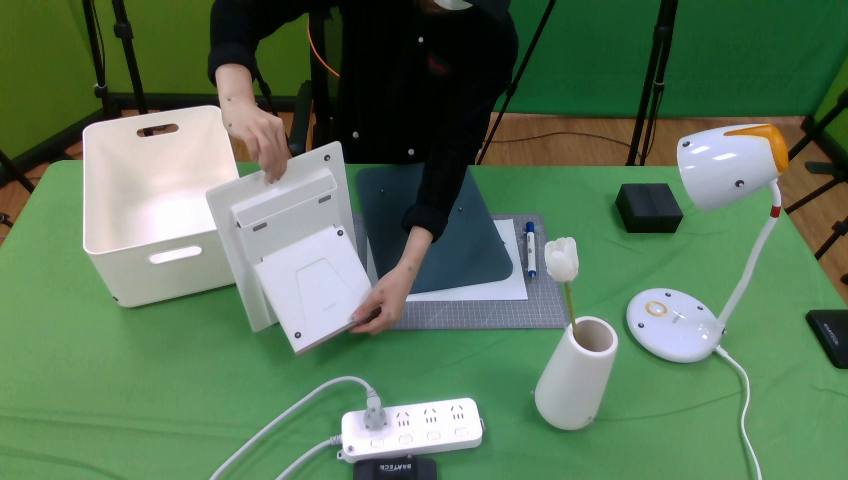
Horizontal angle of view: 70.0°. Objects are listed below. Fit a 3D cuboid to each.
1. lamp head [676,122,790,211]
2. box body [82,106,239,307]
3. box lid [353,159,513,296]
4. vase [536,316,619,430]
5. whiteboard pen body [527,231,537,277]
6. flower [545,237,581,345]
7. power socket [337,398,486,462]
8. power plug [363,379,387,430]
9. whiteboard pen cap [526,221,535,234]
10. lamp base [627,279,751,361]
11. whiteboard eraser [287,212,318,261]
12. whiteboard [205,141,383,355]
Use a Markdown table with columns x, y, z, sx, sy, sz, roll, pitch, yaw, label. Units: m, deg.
| x | y | z | sx | sy | sz | roll | pitch | yaw | label |
| --- | --- | --- | --- | --- | --- | --- | --- | --- | --- |
| 0.423 | -0.104 | 0.819 | 0.122 | 0.113 | 0.112 | -13 | 33 | 40 | lamp head |
| -0.471 | -0.071 | 1.131 | 0.254 | 0.161 | 0.361 | -14 | 49 | -17 | box body |
| 0.009 | -0.039 | 1.242 | 0.264 | 0.015 | 0.369 | -8 | 47 | -12 | box lid |
| 0.229 | 0.200 | 0.901 | 0.098 | 0.201 | 0.097 | 3 | 46 | -3 | vase |
| 0.211 | 0.018 | 1.191 | 0.017 | 0.017 | 0.140 | 6 | 44 | 2 | whiteboard pen body |
| 0.213 | 0.137 | 0.846 | 0.038 | 0.364 | 0.044 | 21 | 55 | 40 | flower |
| -0.018 | 0.285 | 0.914 | 0.227 | 0.033 | 0.071 | -4 | 46 | -8 | power socket |
| -0.072 | 0.252 | 0.911 | 0.035 | 0.053 | 0.072 | 3 | 40 | 0 | power plug |
| 0.216 | -0.022 | 1.234 | 0.018 | 0.018 | 0.033 | 7 | 45 | 2 | whiteboard pen cap |
| 0.460 | 0.100 | 1.027 | 0.178 | 0.181 | 0.160 | 27 | 51 | 17 | lamp base |
| -0.234 | -0.007 | 1.173 | 0.055 | 0.042 | 0.112 | -4 | 46 | -5 | whiteboard eraser |
| -0.175 | 0.037 | 0.945 | 0.217 | 0.307 | 0.143 | -26 | 48 | -24 | whiteboard |
